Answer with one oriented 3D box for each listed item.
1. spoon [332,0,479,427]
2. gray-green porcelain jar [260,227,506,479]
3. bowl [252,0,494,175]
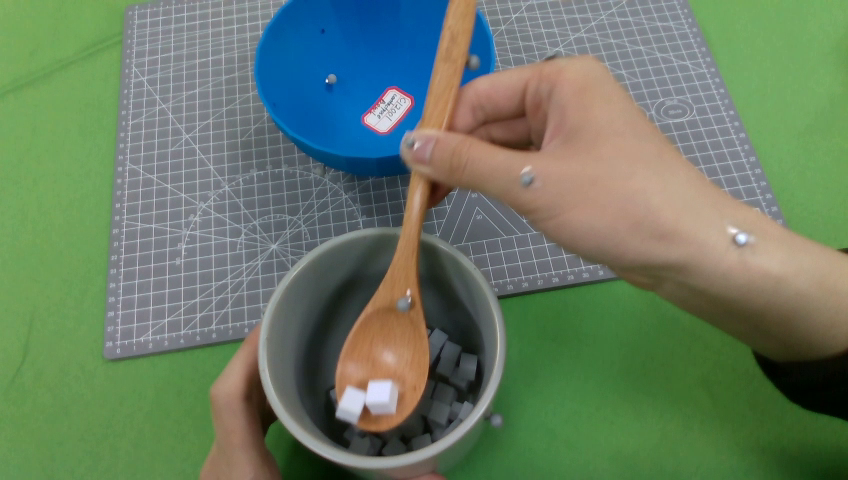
[{"bbox_3d":[-0.002,-0.015,0.257,0.041,0.022,0.194,15,96,14],"label":"spoon"},{"bbox_3d":[-0.015,0.067,0.312,0.106,0.127,0.105,-1,65,2],"label":"gray-green porcelain jar"},{"bbox_3d":[-0.030,-0.099,0.409,0.151,0.077,0.150,-1,66,2],"label":"bowl"}]
